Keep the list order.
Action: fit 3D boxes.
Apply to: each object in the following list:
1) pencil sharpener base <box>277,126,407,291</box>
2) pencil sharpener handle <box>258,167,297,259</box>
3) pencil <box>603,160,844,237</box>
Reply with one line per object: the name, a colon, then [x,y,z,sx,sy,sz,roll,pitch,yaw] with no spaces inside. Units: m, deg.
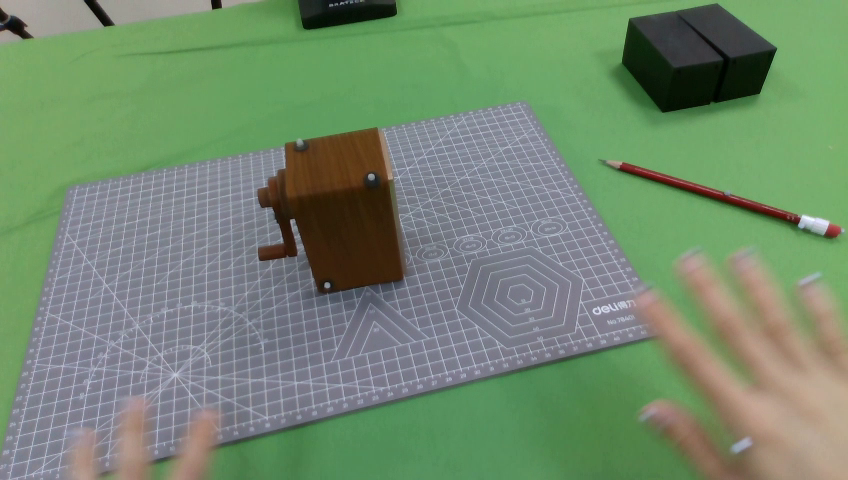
pencil sharpener base: [-0.058,-0.020,0.443,0.077,0.108,0.060,-10,47,-4]
pencil sharpener handle: [-0.108,-0.016,0.427,0.031,0.068,0.035,-10,31,-4]
pencil: [0.243,-0.040,0.509,0.192,0.012,0.012,23,53,26]
